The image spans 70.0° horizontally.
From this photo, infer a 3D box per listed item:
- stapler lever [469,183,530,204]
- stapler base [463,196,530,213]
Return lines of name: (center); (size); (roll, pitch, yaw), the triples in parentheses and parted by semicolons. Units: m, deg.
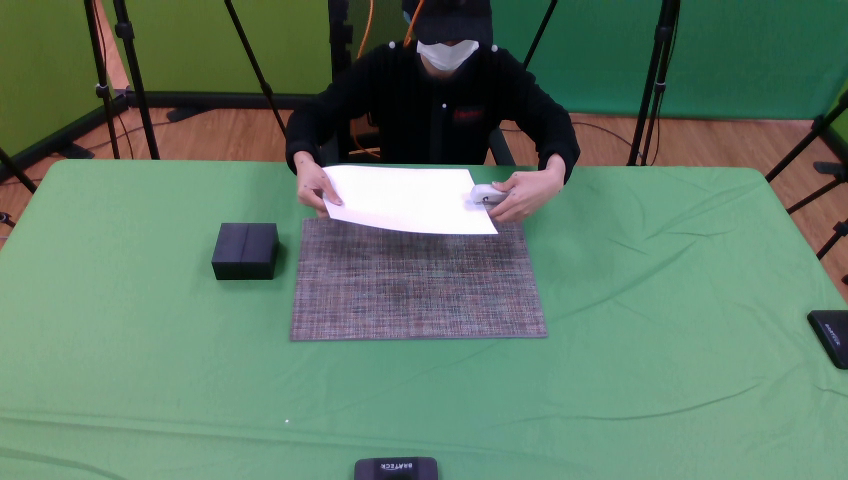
stapler lever: (0.143, -0.089, 1.136); (0.118, 0.040, 0.026); (-6, 47, -12)
stapler base: (0.139, -0.074, 1.149); (0.131, 0.024, 0.041); (-2, 46, -16)
